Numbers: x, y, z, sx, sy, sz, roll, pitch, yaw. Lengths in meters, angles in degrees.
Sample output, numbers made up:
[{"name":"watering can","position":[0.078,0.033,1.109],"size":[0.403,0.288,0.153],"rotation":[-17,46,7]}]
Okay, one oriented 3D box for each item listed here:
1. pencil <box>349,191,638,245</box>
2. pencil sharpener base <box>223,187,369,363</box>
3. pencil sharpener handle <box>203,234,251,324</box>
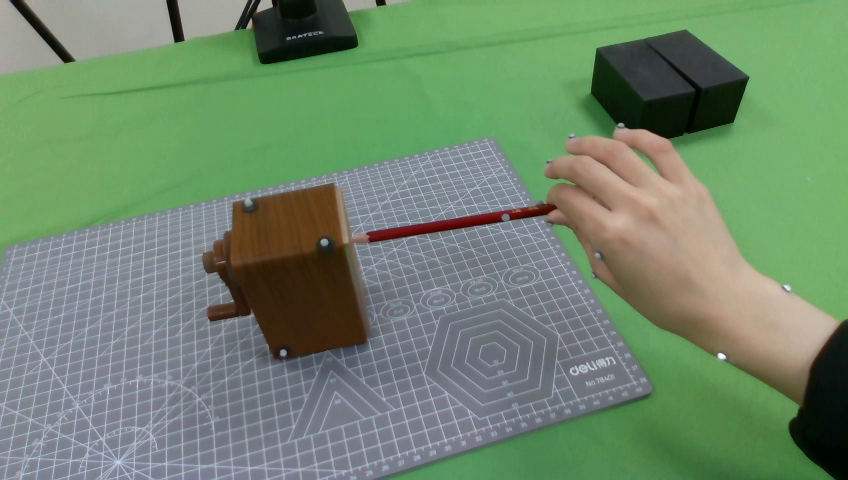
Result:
[{"name":"pencil","position":[0.040,-0.012,0.389],"size":[0.194,0.012,0.012],"rotation":[-9,45,2]},{"name":"pencil sharpener base","position":[-0.084,0.027,0.411],"size":[0.077,0.108,0.060],"rotation":[-11,46,-5]},{"name":"pencil sharpener handle","position":[-0.134,0.029,0.396],"size":[0.031,0.068,0.035],"rotation":[-11,40,-5]}]
